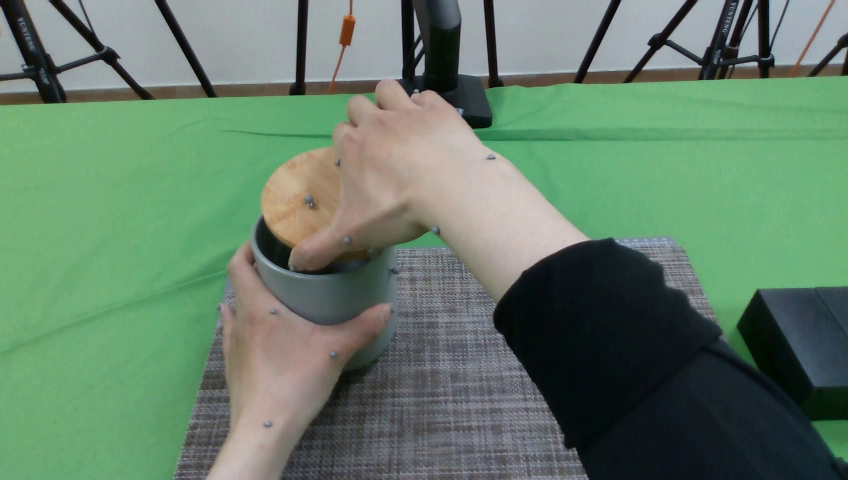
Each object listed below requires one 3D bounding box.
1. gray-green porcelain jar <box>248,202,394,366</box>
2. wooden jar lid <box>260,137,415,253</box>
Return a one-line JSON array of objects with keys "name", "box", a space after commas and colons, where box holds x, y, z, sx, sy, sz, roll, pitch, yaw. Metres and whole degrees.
[{"name": "gray-green porcelain jar", "box": [-0.077, 0.031, 0.489, 0.106, 0.127, 0.105, 1, 44, 0]}, {"name": "wooden jar lid", "box": [-0.061, -0.032, 0.431, 0.108, 0.021, 0.107, 4, 50, -4]}]
